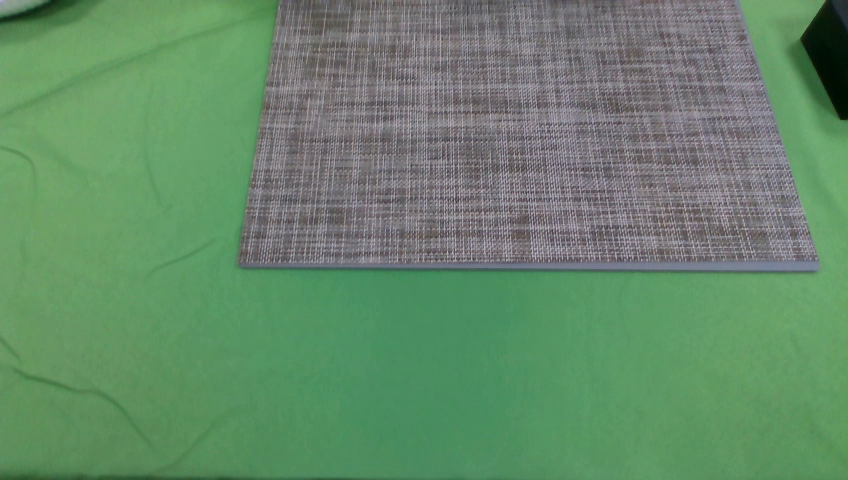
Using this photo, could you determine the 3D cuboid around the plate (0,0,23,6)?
[{"bbox_3d":[-0.432,-0.308,0.618,0.208,0.039,0.206,0,63,1],"label":"plate"}]
